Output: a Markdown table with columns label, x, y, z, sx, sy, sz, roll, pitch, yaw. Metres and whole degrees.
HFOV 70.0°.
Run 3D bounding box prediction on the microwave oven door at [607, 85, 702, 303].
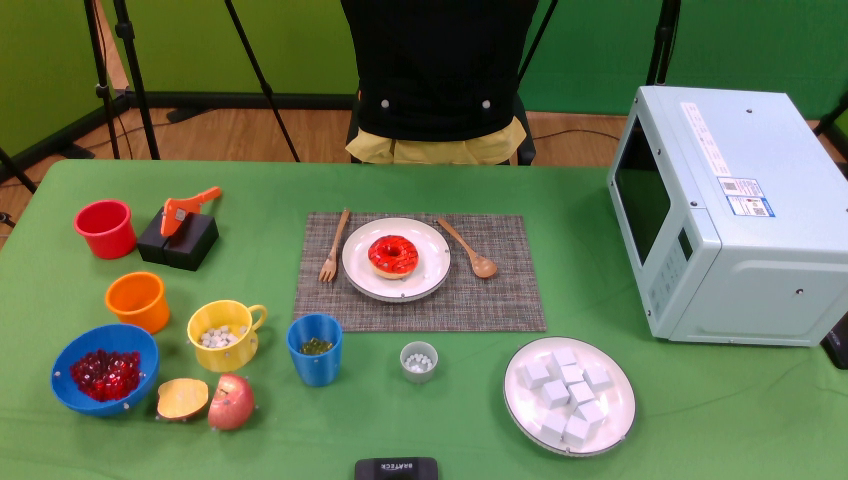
| label | x | y | z | sx | sy | sz | roll | pitch | yaw |
| --- | --- | --- | --- | --- | --- | --- | --- | --- | --- |
| microwave oven door | 0.423 | -0.094 | 1.140 | 0.039 | 0.245 | 0.353 | 2 | 46 | -1 |

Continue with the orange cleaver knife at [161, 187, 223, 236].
| label | x | y | z | sx | sy | sz | roll | pitch | yaw |
| --- | --- | --- | --- | --- | --- | --- | --- | --- | --- |
| orange cleaver knife | -0.449 | -0.059 | 1.181 | 0.012 | 0.077 | 0.211 | 14 | 17 | 6 |

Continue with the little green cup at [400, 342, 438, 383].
| label | x | y | z | sx | sy | sz | roll | pitch | yaw |
| --- | --- | --- | --- | --- | --- | --- | --- | --- | --- |
| little green cup | -0.010 | 0.202 | 0.991 | 0.061 | 0.039 | 0.061 | 2 | 47 | -2 |

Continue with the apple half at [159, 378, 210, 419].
| label | x | y | z | sx | sy | sz | roll | pitch | yaw |
| --- | --- | --- | --- | --- | --- | --- | --- | --- | --- |
| apple half | -0.366 | 0.247 | 0.926 | 0.081 | 0.033 | 0.081 | 8 | 31 | -5 |

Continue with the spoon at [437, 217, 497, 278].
| label | x | y | z | sx | sy | sz | roll | pitch | yaw |
| --- | --- | --- | --- | --- | --- | --- | --- | --- | --- |
| spoon | 0.080 | 0.010 | 1.188 | 0.041 | 0.022 | 0.192 | -34 | 55 | -7 |

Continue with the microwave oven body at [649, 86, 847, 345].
| label | x | y | z | sx | sy | sz | roll | pitch | yaw |
| --- | --- | --- | --- | --- | --- | --- | --- | --- | --- |
| microwave oven body | 0.568 | -0.053 | 1.118 | 0.326 | 0.261 | 0.439 | 2 | 45 | -1 |

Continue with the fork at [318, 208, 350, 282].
| label | x | y | z | sx | sy | sz | roll | pitch | yaw |
| --- | --- | --- | --- | --- | --- | --- | --- | --- | --- |
| fork | -0.170 | 0.005 | 1.177 | 0.028 | 0.019 | 0.206 | 0 | 47 | 10 |

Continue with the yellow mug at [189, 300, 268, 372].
| label | x | y | z | sx | sy | sz | roll | pitch | yaw |
| --- | --- | --- | --- | --- | --- | --- | --- | --- | --- |
| yellow mug | -0.315 | 0.149 | 1.001 | 0.131 | 0.064 | 0.099 | -32 | 55 | -31 |

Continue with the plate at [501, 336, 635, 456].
| label | x | y | z | sx | sy | sz | roll | pitch | yaw |
| --- | --- | --- | --- | --- | --- | --- | --- | --- | --- |
| plate | 0.225 | 0.248 | 0.963 | 0.208 | 0.039 | 0.206 | 2 | 46 | -2 |

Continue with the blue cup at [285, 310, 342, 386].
| label | x | y | z | sx | sy | sz | roll | pitch | yaw |
| --- | --- | --- | --- | --- | --- | --- | --- | --- | --- |
| blue cup | -0.170 | 0.179 | 0.958 | 0.093 | 0.101 | 0.092 | 2 | 44 | -2 |

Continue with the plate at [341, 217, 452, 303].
| label | x | y | z | sx | sy | sz | roll | pitch | yaw |
| --- | --- | --- | --- | --- | --- | --- | --- | --- | --- |
| plate | -0.052 | 0.039 | 1.140 | 0.209 | 0.038 | 0.208 | 2 | 46 | -2 |

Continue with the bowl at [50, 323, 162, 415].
| label | x | y | z | sx | sy | sz | roll | pitch | yaw |
| --- | --- | --- | --- | --- | --- | --- | --- | --- | --- |
| bowl | -0.472 | 0.209 | 0.924 | 0.151 | 0.077 | 0.150 | 3 | 45 | -2 |

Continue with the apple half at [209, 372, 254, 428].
| label | x | y | z | sx | sy | sz | roll | pitch | yaw |
| --- | --- | --- | --- | --- | --- | --- | --- | --- | --- |
| apple half | -0.282 | 0.243 | 0.908 | 0.053 | 0.075 | 0.080 | 7 | 42 | -2 |

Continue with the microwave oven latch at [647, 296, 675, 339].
| label | x | y | z | sx | sy | sz | roll | pitch | yaw |
| --- | --- | --- | --- | --- | --- | --- | --- | --- | --- |
| microwave oven latch | 0.413 | 0.134 | 1.061 | 0.030 | 0.029 | 0.078 | 5 | 45 | 2 |

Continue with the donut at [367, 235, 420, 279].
| label | x | y | z | sx | sy | sz | roll | pitch | yaw |
| --- | --- | --- | --- | --- | --- | --- | --- | --- | --- |
| donut | -0.057 | 0.032 | 1.132 | 0.099 | 0.048 | 0.098 | 3 | 45 | -3 |
